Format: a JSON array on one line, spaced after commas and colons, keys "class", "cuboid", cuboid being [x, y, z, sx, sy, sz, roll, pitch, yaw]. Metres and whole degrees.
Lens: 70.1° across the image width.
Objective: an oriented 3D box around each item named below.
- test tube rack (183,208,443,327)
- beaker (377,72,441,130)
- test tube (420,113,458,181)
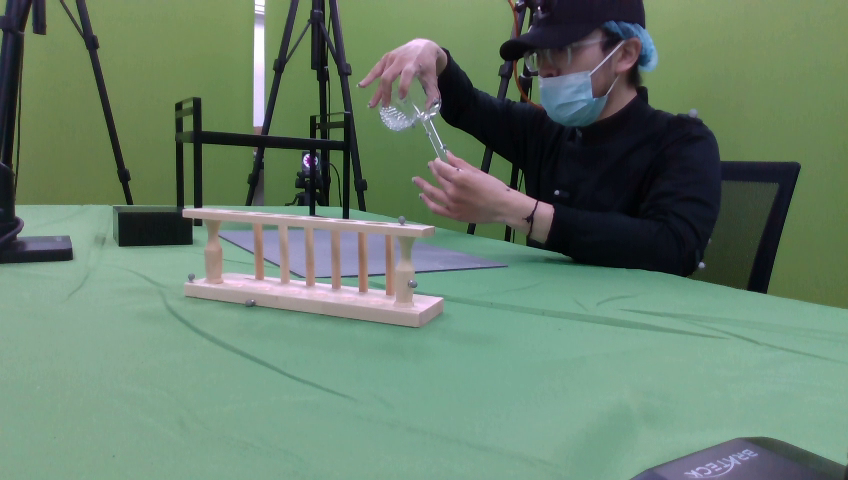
[{"class": "test tube rack", "cuboid": [-0.106, 0.019, 0.570, 0.241, 0.085, 0.067, 5, 8, 19]}, {"class": "beaker", "cuboid": [-0.029, -0.239, 1.069, 0.074, 0.084, 0.100, 7, -14, -38]}, {"class": "test tube", "cuboid": [0.024, -0.153, 0.987, 0.017, 0.017, 0.150, -2, 52, -29]}]
